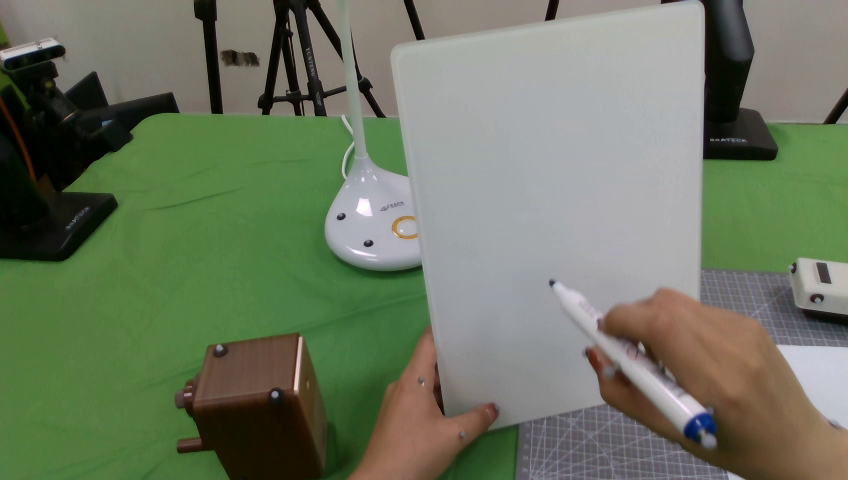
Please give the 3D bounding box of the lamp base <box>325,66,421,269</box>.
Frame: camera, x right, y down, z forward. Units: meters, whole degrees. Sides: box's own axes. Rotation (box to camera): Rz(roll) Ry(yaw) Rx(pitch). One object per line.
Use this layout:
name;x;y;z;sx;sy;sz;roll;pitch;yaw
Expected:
lamp base;-0.048;-0.087;0.658;0.161;0.182;0.177;-29;42;-26

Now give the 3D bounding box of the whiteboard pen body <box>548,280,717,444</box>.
whiteboard pen body;0.104;0.058;0.331;0.017;0.017;0.139;-17;32;-14

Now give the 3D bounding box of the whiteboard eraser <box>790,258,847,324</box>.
whiteboard eraser;0.396;0.050;0.546;0.112;0.042;0.055;9;41;17

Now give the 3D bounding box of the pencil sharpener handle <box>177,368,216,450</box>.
pencil sharpener handle;-0.171;0.127;0.444;0.030;0.068;0.035;-7;26;-2

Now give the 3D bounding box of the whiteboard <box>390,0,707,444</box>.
whiteboard;0.095;-0.021;0.507;0.217;0.307;0.143;-11;20;-6

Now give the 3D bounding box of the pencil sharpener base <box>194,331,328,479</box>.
pencil sharpener base;-0.120;0.128;0.456;0.077;0.108;0.060;-7;39;-2
